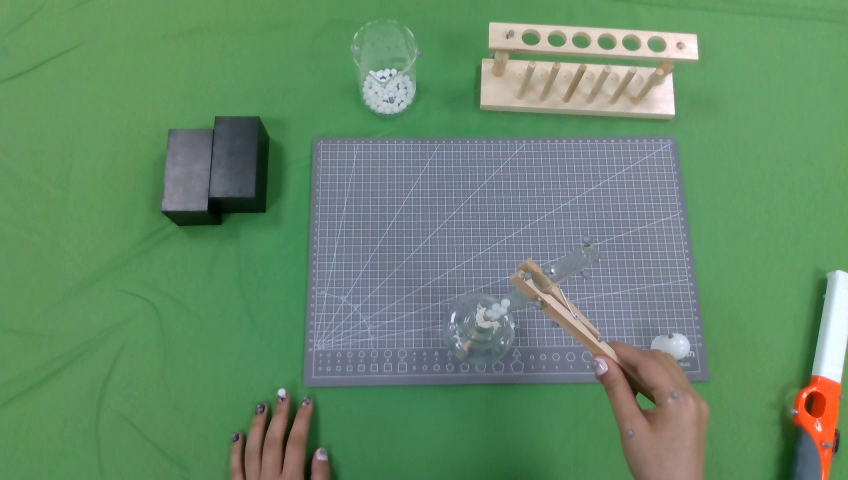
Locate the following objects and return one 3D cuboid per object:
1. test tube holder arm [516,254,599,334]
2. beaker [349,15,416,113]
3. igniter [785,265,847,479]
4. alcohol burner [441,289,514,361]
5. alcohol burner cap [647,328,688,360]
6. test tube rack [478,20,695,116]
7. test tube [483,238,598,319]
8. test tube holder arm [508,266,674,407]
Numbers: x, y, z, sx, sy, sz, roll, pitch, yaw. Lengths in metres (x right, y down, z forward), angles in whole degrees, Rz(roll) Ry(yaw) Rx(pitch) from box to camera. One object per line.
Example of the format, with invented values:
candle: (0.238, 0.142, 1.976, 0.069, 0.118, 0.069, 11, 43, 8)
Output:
test tube holder arm: (0.109, 0.047, 0.490, 0.088, 0.015, 0.010, 48, 55, -5)
beaker: (-0.047, -0.201, 0.719, 0.074, 0.101, 0.083, 2, 74, -1)
igniter: (0.438, 0.158, 0.668, 0.057, 0.025, 0.275, 22, 75, -5)
alcohol burner: (0.058, 0.085, 0.631, 0.078, 0.119, 0.077, 1, 73, -3)
alcohol burner cap: (0.270, 0.113, 0.666, 0.034, 0.048, 0.033, 1, 73, -1)
test tube rack: (0.191, -0.207, 0.735, 0.242, 0.085, 0.066, 3, 74, -1)
test tube: (0.087, 0.036, 0.488, 0.017, 0.150, 0.017, 11, 62, -21)
test tube holder arm: (0.138, 0.081, 0.493, 0.179, 0.015, 0.013, 41, 56, -9)
